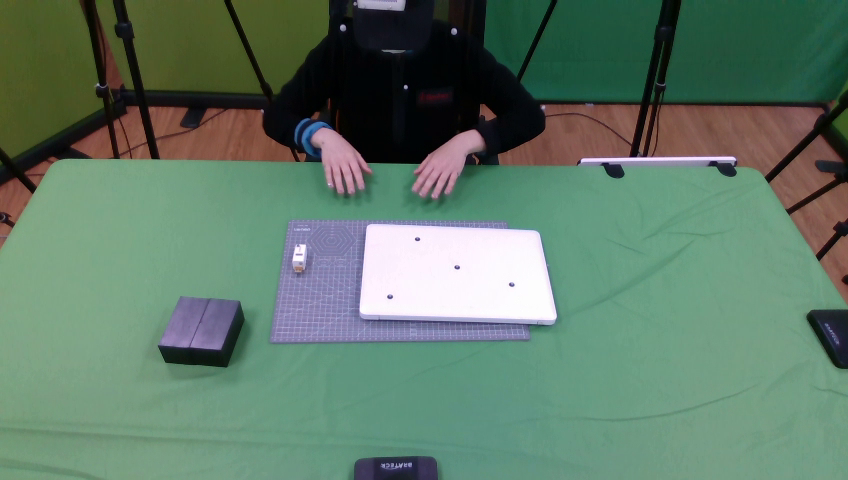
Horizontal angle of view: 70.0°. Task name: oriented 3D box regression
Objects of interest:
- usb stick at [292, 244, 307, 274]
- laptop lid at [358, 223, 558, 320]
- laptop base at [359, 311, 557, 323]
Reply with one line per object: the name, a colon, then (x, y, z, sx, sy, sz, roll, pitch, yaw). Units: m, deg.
usb stick: (-0.234, 0.036, 1.137, 0.021, 0.027, 0.059, 3, 49, -4)
laptop lid: (0.061, 0.053, 1.138, 0.357, 0.013, 0.240, 3, 44, -2)
laptop base: (0.061, 0.063, 1.145, 0.354, 0.023, 0.234, 2, 43, -3)
